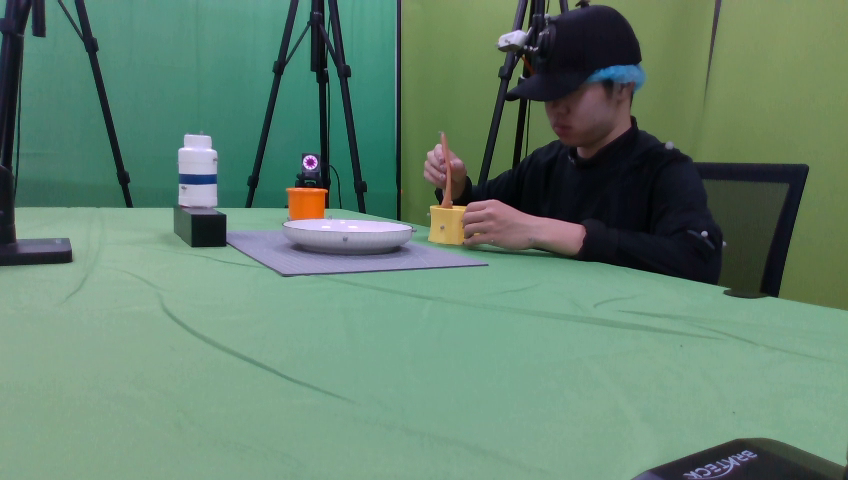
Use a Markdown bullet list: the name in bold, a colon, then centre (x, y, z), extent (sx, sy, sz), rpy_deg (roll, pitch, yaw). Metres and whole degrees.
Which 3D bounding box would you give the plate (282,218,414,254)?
- **plate**: centre (-0.121, -0.007, 0.971), extent (0.208, 0.039, 0.207), rpy_deg (2, 7, 0)

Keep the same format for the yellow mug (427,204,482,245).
- **yellow mug**: centre (0.062, -0.028, 1.111), extent (0.100, 0.064, 0.130), rpy_deg (0, 9, -20)

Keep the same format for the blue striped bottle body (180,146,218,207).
- **blue striped bottle body**: centre (-0.392, -0.118, 1.053), extent (0.063, 0.120, 0.063), rpy_deg (2, 8, 0)

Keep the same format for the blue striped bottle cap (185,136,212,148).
- **blue striped bottle cap**: centre (-0.390, -0.169, 1.047), extent (0.044, 0.020, 0.044), rpy_deg (4, 10, 0)

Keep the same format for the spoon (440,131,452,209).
- **spoon**: centre (0.043, -0.113, 1.147), extent (0.042, 0.193, 0.021), rpy_deg (3, -6, -42)
